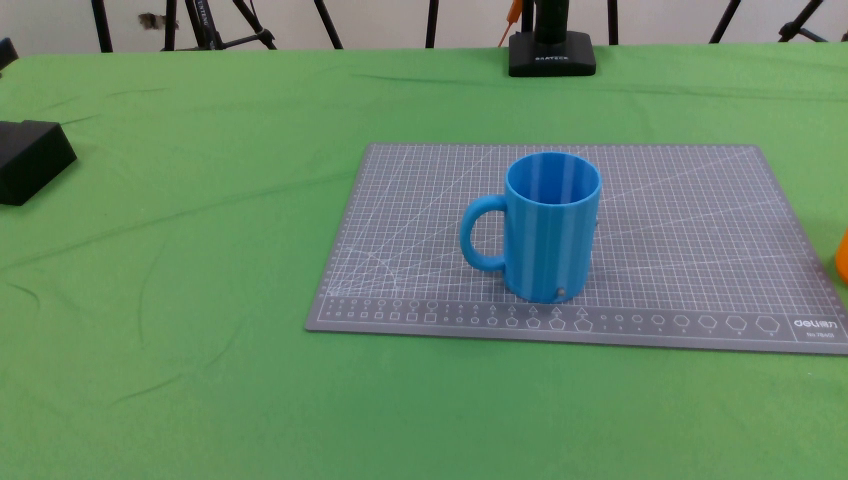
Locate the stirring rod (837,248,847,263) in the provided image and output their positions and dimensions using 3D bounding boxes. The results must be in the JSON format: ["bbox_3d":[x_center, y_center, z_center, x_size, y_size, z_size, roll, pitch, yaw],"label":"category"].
[{"bbox_3d":[0.423,-0.020,0.479,0.176,0.006,0.014,-31,28,38],"label":"stirring rod"}]

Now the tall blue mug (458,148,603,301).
[{"bbox_3d":[0.092,-0.006,0.509,0.107,0.109,0.077,-25,46,-21],"label":"tall blue mug"}]
